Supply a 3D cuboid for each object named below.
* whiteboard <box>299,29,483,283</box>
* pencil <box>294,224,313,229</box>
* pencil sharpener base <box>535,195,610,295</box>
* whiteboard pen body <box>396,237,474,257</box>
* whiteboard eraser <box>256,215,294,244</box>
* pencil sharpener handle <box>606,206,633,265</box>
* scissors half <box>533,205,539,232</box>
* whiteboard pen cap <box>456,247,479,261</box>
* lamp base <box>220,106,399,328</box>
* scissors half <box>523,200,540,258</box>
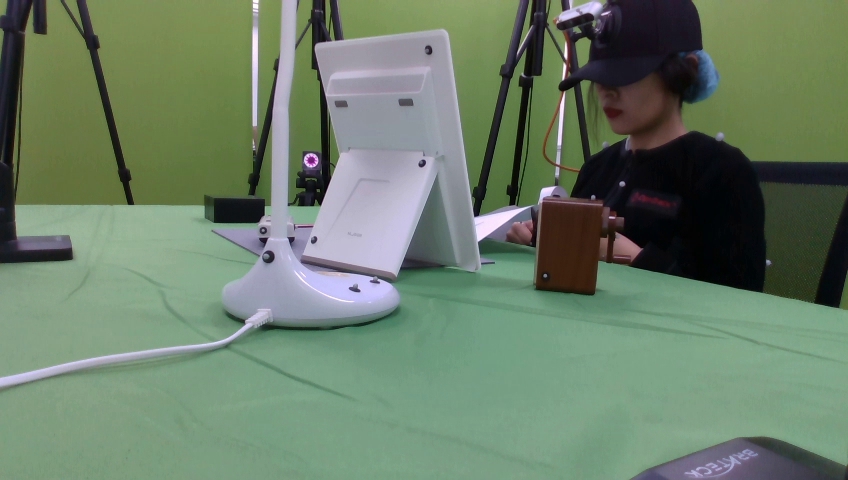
[{"bbox_3d":[-0.074,-0.082,0.742,0.216,0.305,0.144,9,30,38],"label":"whiteboard"},{"bbox_3d":[-0.221,-0.028,1.211,0.195,0.012,0.012,-5,10,-34],"label":"pencil"},{"bbox_3d":[0.172,0.005,0.696,0.076,0.107,0.061,5,8,16],"label":"pencil sharpener base"},{"bbox_3d":[0.014,0.012,0.886,0.140,0.017,0.017,9,10,38],"label":"whiteboard pen body"},{"bbox_3d":[-0.232,-0.016,0.951,0.056,0.042,0.112,2,7,-12],"label":"whiteboard eraser"},{"bbox_3d":[0.223,-0.004,0.683,0.030,0.068,0.036,5,20,17],"label":"pencil sharpener handle"},{"bbox_3d":[0.206,-0.035,1.071,0.013,0.040,0.176,29,-2,23],"label":"scissors half"},{"bbox_3d":[0.060,0.020,0.851,0.033,0.018,0.018,10,10,37],"label":"whiteboard pen cap"},{"bbox_3d":[-0.101,-0.023,0.531,0.160,0.180,0.179,4,10,10],"label":"lamp base"},{"bbox_3d":[0.193,-0.018,1.066,0.012,0.175,0.040,34,65,24],"label":"scissors half"}]
